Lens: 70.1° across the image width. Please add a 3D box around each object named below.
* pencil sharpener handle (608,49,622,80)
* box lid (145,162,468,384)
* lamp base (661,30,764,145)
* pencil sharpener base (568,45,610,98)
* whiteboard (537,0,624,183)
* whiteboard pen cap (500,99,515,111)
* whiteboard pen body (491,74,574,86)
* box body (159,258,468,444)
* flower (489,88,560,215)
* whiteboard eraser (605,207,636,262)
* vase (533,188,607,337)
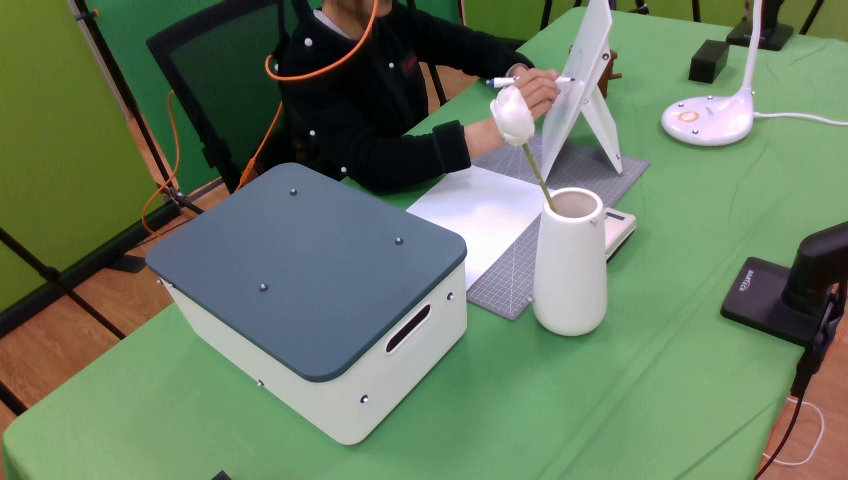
[{"bbox_3d":[0.394,-0.368,1.253,0.030,0.068,0.036,-9,32,1],"label":"pencil sharpener handle"},{"bbox_3d":[-0.157,0.014,0.769,0.368,0.015,0.264,25,51,33],"label":"box lid"},{"bbox_3d":[0.535,-0.287,1.096,0.179,0.181,0.159,-10,40,-4],"label":"lamp base"},{"bbox_3d":[0.345,-0.352,1.263,0.077,0.107,0.061,-9,40,1],"label":"pencil sharpener base"},{"bbox_3d":[0.316,-0.256,1.047,0.144,0.306,0.216,15,42,-1],"label":"whiteboard"},{"bbox_3d":[0.177,-0.287,1.289,0.033,0.018,0.018,-38,48,-26],"label":"whiteboard pen cap"},{"bbox_3d":[0.183,-0.270,1.020,0.140,0.017,0.017,0,41,8],"label":"whiteboard pen body"},{"bbox_3d":[-0.147,0.072,0.816,0.361,0.161,0.255,24,50,33],"label":"box body"},{"bbox_3d":[0.158,-0.027,0.720,0.038,0.364,0.044,-14,44,23],"label":"flower"},{"bbox_3d":[0.273,-0.003,0.919,0.055,0.042,0.113,27,51,33],"label":"whiteboard eraser"},{"bbox_3d":[0.187,0.033,0.771,0.098,0.201,0.097,-6,41,6],"label":"vase"}]
